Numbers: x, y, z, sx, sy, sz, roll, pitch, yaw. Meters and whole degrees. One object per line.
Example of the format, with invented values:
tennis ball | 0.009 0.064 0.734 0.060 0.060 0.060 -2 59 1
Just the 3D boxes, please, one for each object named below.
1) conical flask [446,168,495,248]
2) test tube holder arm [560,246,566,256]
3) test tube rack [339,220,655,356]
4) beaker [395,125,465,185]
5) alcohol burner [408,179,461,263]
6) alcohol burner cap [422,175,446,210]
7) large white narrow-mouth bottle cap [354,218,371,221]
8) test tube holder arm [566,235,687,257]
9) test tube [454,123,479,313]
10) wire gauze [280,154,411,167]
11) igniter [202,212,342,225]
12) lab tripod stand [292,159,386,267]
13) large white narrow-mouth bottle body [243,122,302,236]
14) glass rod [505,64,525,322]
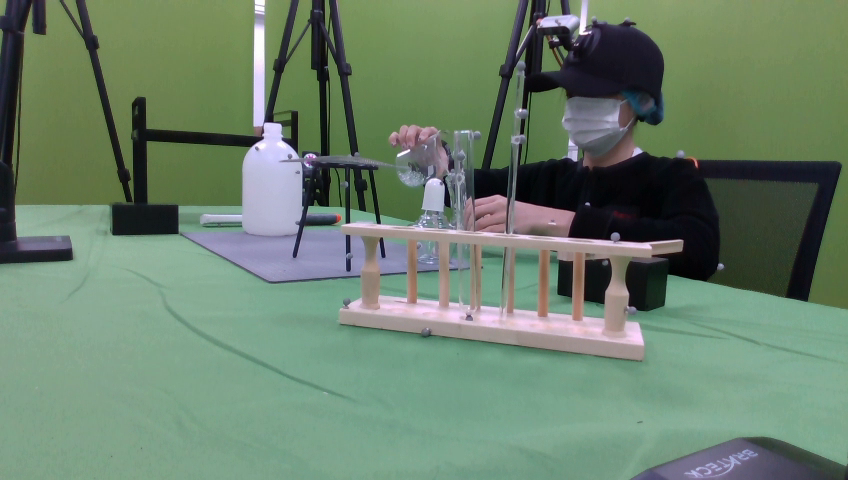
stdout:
conical flask | 0.068 -0.052 0.971 0.075 0.121 0.075 -14 -7 -1
test tube holder arm | 0.173 0.007 0.611 0.088 0.015 0.010 -3 9 -30
test tube rack | 0.056 0.032 0.495 0.242 0.085 0.067 4 7 15
beaker | 0.008 -0.136 1.013 0.100 0.084 0.074 -18 -10 39
alcohol burner | 0.014 -0.029 0.834 0.078 0.119 0.078 0 6 0
alcohol burner cap | 0.016 -0.065 0.830 0.034 0.048 0.034 7 4 0
large white narrow-mouth bottle cap | -0.120 -0.029 1.184 0.038 0.024 0.037 2 8 0
test tube holder arm | 0.215 0.006 0.629 0.179 0.015 0.013 -3 9 -30
test tube | 0.034 -0.016 0.477 0.017 0.150 0.017 -2 9 1
wire gauze | -0.102 -0.104 0.785 0.121 0.011 0.126 8 8 42
igniter | -0.298 -0.043 1.216 0.278 0.025 0.057 -3 -2 -32
lab tripod stand | -0.105 -0.039 0.797 0.148 0.131 0.148 2 5 0
large white narrow-mouth bottle body | -0.264 -0.109 1.061 0.102 0.194 0.102 2 8 0
glass rod | 0.069 -0.030 0.458 0.008 0.199 0.008 0 15 0
